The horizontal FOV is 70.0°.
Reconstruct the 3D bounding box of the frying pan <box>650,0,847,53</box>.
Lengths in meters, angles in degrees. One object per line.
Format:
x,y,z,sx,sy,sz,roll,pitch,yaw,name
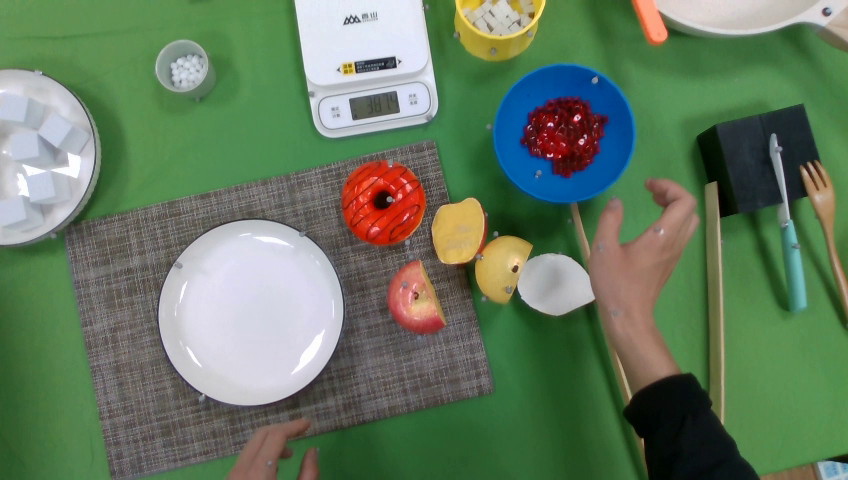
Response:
0.400,-0.288,0.670,0.307,0.103,0.485,-40,78,-1,frying pan

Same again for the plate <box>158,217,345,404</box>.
-0.191,0.078,0.686,0.209,0.038,0.208,0,86,1,plate

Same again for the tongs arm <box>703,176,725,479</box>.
0.319,0.122,0.679,0.028,0.028,0.387,1,87,-5,tongs arm

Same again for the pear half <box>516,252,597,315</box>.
0.150,0.051,0.687,0.087,0.031,0.070,12,84,16,pear half

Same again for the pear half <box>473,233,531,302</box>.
0.081,0.026,0.652,0.056,0.110,0.076,19,81,3,pear half

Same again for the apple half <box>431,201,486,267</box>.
0.047,-0.007,0.690,0.080,0.033,0.081,10,105,44,apple half

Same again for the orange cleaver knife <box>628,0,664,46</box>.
0.225,-0.315,0.656,0.077,0.012,0.211,-23,87,-3,orange cleaver knife

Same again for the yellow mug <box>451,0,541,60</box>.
0.070,-0.277,0.695,0.130,0.064,0.100,44,88,5,yellow mug

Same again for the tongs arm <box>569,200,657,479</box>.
0.234,0.134,0.679,0.051,0.026,0.384,-13,87,-2,tongs arm

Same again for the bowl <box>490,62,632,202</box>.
0.146,-0.112,0.677,0.151,0.077,0.151,0,87,1,bowl

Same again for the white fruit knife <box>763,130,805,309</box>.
0.393,-0.019,0.665,0.016,0.027,0.208,-16,100,0,white fruit knife

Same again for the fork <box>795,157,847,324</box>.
0.450,0.007,0.669,0.028,0.018,0.208,-23,101,-2,fork

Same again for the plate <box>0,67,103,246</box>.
-0.474,-0.095,0.707,0.208,0.039,0.207,0,86,1,plate

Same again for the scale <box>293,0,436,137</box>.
-0.071,-0.230,0.711,0.149,0.031,0.200,-9,86,1,scale

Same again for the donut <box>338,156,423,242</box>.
-0.050,-0.046,0.688,0.099,0.048,0.099,0,87,4,donut

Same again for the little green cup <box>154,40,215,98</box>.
-0.277,-0.197,0.710,0.061,0.039,0.061,0,86,2,little green cup

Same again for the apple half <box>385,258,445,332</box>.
-0.014,0.065,0.666,0.053,0.074,0.081,-23,90,4,apple half
